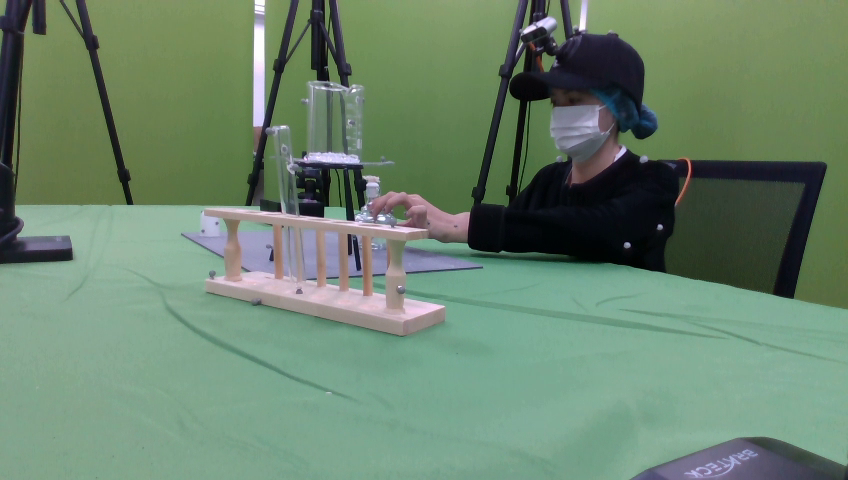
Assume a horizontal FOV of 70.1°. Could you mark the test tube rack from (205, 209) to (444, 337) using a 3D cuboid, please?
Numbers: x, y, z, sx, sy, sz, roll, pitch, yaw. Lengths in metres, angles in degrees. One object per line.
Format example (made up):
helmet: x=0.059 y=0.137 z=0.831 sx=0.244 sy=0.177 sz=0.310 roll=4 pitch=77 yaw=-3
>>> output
test tube rack: x=-0.100 y=0.021 z=0.565 sx=0.241 sy=0.085 sz=0.067 roll=7 pitch=8 yaw=32

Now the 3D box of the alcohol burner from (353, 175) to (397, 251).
alcohol burner: x=-0.082 y=-0.043 z=0.950 sx=0.078 sy=0.119 sz=0.078 roll=1 pitch=8 yaw=0

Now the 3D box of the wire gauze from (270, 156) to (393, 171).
wire gauze: x=-0.122 y=-0.100 z=0.786 sx=0.122 sy=0.011 sz=0.124 roll=-5 pitch=14 yaw=-38

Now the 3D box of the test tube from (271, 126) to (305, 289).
test tube: x=-0.124 y=-0.028 z=0.554 sx=0.017 sy=0.150 sz=0.017 roll=-5 pitch=7 yaw=1

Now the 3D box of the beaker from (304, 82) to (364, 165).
beaker: x=-0.115 y=-0.148 z=0.779 sx=0.074 sy=0.100 sz=0.083 roll=-2 pitch=10 yaw=-30

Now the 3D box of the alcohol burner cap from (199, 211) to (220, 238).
alcohol burner cap: x=-0.356 y=-0.027 z=1.002 sx=0.034 sy=0.048 sz=0.034 roll=2 pitch=7 yaw=0

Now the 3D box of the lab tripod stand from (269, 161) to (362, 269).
lab tripod stand: x=-0.125 y=-0.036 z=0.794 sx=0.148 sy=0.131 sz=0.148 roll=5 pitch=7 yaw=0
